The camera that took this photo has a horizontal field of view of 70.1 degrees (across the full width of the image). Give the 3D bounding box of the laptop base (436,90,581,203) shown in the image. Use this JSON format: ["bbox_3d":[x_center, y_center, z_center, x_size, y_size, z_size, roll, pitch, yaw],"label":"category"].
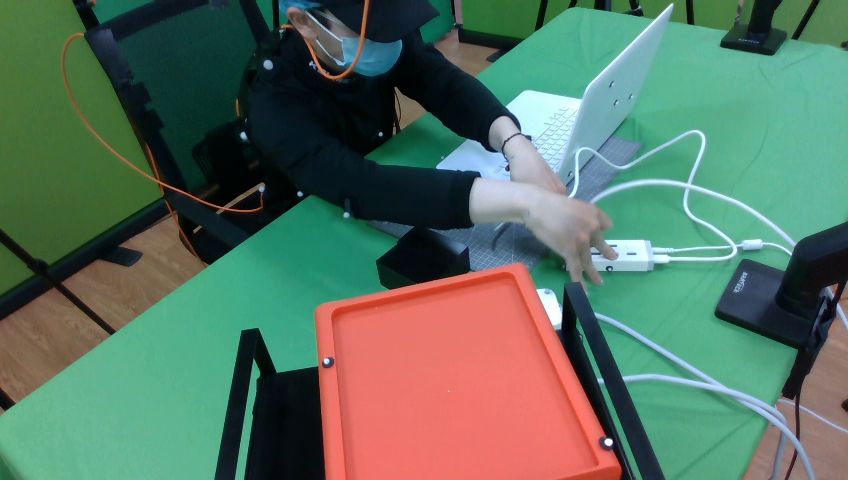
[{"bbox_3d":[0.214,-0.192,1.172,0.233,0.023,0.355,19,46,32],"label":"laptop base"}]

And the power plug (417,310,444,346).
[{"bbox_3d":[0.007,0.123,0.785,0.035,0.053,0.072,0,39,7],"label":"power plug"}]

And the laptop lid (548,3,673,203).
[{"bbox_3d":[0.320,-0.234,1.026,0.013,0.242,0.357,31,50,20],"label":"laptop lid"}]

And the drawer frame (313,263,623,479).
[{"bbox_3d":[0.021,0.130,0.493,0.202,0.083,0.212,-11,41,-6],"label":"drawer frame"}]

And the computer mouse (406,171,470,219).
[{"bbox_3d":[0.024,-0.082,1.049,0.063,0.041,0.116,-29,50,-28],"label":"computer mouse"}]

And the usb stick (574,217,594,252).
[{"bbox_3d":[0.234,-0.002,0.884,0.021,0.059,0.027,-12,35,1],"label":"usb stick"}]

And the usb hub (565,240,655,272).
[{"bbox_3d":[0.276,0.023,0.904,0.125,0.025,0.049,1,41,8],"label":"usb hub"}]

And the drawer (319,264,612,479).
[{"bbox_3d":[0.020,0.129,0.496,0.195,0.073,0.210,-11,41,-5],"label":"drawer"}]

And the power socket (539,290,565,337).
[{"bbox_3d":[0.081,0.112,0.822,0.227,0.033,0.072,-7,41,0],"label":"power socket"}]
